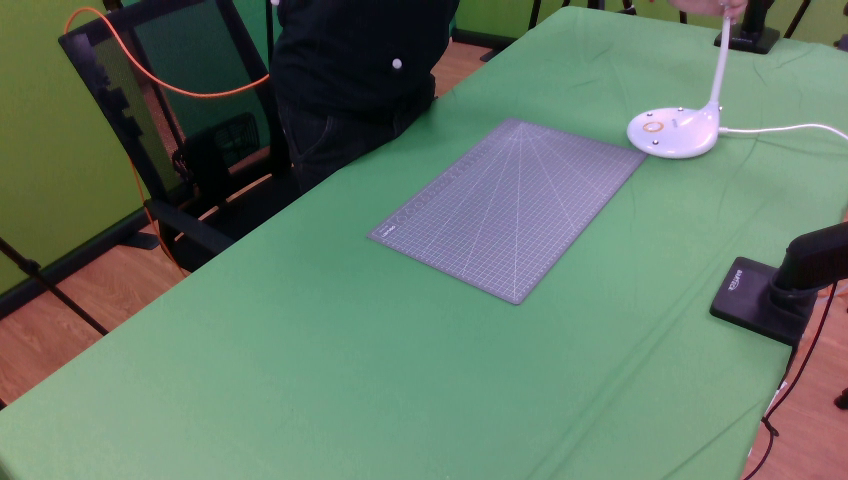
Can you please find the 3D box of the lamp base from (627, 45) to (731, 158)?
[{"bbox_3d":[0.469,-0.262,1.085,0.179,0.181,0.159,-4,41,-1],"label":"lamp base"}]
